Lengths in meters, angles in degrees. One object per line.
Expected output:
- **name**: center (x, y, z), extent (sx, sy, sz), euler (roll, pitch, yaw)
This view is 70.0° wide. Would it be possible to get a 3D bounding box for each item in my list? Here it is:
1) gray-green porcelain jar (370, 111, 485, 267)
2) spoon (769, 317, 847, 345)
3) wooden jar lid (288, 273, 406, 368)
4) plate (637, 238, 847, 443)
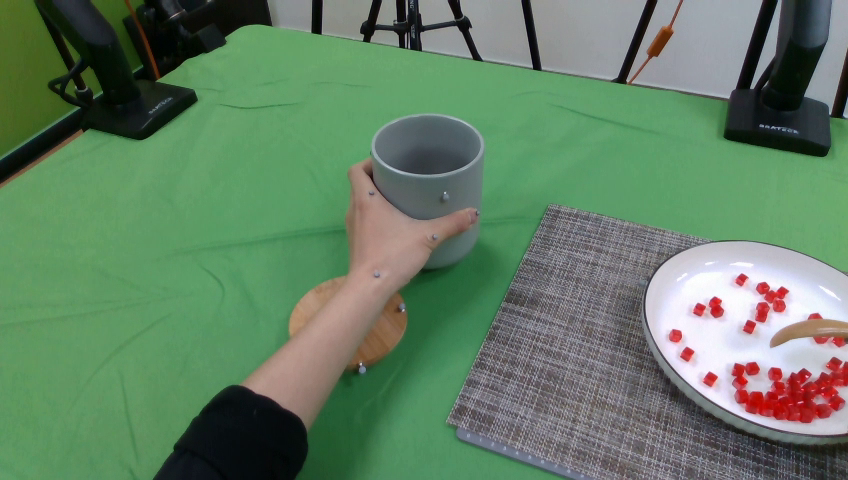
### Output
- **gray-green porcelain jar**: center (0.003, -0.045, 0.597), extent (0.106, 0.127, 0.105), euler (0, 43, 0)
- **spoon**: center (0.327, 0.061, 0.409), extent (0.042, 0.193, 0.021), euler (-7, 85, -30)
- **wooden jar lid**: center (-0.070, 0.075, 0.561), extent (0.108, 0.021, 0.107), euler (0, 44, 1)
- **plate**: center (0.287, 0.082, 0.514), extent (0.207, 0.039, 0.205), euler (-1, 43, 2)
